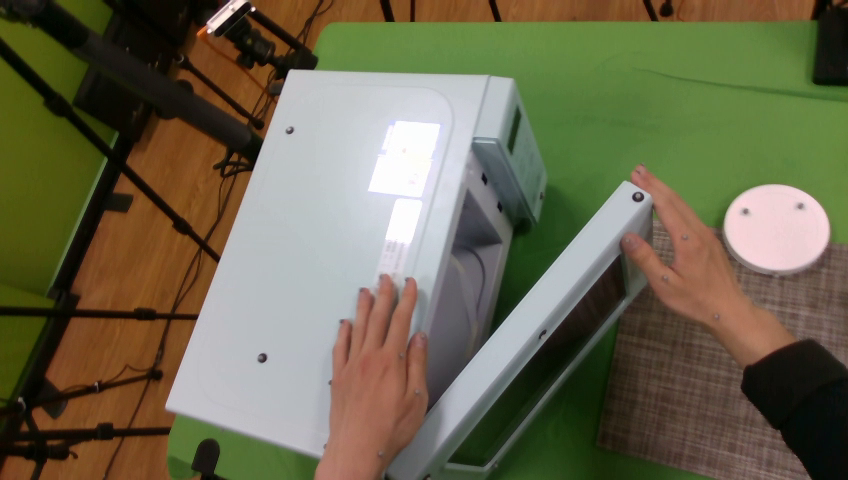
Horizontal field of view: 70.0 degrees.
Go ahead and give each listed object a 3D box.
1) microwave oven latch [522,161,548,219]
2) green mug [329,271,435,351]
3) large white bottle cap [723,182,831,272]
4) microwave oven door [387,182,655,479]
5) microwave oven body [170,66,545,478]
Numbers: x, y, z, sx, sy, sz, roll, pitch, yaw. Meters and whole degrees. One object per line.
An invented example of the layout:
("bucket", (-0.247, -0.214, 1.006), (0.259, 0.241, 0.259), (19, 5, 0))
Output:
("microwave oven latch", (0.153, -0.071, 0.841), (0.030, 0.030, 0.079), (9, 74, 23))
("green mug", (-0.049, 0.089, 0.769), (0.125, 0.106, 0.092), (-4, 71, 12))
("large white bottle cap", (0.430, -0.017, 0.741), (0.114, 0.018, 0.114), (-7, 67, 17))
("microwave oven door", (0.125, 0.124, 0.659), (0.039, 0.246, 0.355), (38, 86, 29))
("microwave oven body", (-0.060, 0.040, 0.768), (0.324, 0.262, 0.439), (9, 74, 23))
